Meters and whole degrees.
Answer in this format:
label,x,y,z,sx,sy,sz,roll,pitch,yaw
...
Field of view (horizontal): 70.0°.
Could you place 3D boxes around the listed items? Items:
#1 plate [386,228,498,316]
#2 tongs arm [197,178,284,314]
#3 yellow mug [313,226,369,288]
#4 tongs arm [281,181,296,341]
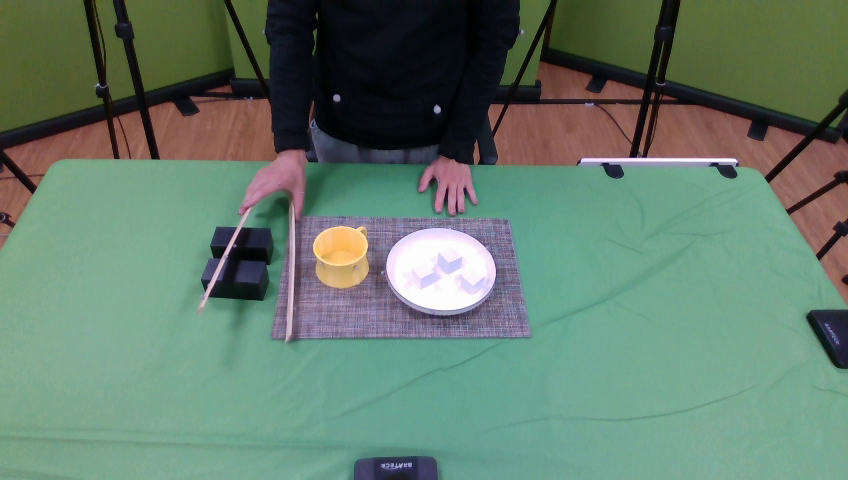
label,x,y,z,sx,sy,sz,roll,pitch,yaw
plate,0.032,0.062,1.126,0.208,0.039,0.206,2,46,-2
tongs arm,-0.326,-0.003,1.112,0.051,0.026,0.382,23,38,-15
yellow mug,-0.146,0.021,1.131,0.099,0.064,0.130,24,49,19
tongs arm,-0.256,0.025,1.140,0.028,0.028,0.385,12,43,-23
